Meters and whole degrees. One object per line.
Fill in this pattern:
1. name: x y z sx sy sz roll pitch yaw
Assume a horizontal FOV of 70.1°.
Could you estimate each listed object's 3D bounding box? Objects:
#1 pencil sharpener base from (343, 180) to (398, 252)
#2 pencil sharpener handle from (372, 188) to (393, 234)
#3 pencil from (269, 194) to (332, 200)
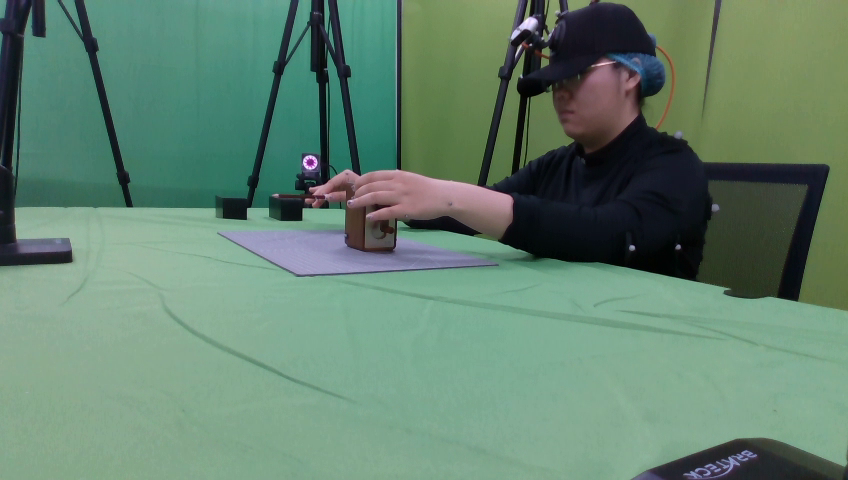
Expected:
1. pencil sharpener base: -0.085 -0.038 0.956 0.062 0.107 0.076 -1 9 -33
2. pencil sharpener handle: -0.056 -0.043 0.912 0.036 0.067 0.030 -3 10 -32
3. pencil: -0.222 -0.079 1.101 0.012 0.012 0.195 6 6 22
